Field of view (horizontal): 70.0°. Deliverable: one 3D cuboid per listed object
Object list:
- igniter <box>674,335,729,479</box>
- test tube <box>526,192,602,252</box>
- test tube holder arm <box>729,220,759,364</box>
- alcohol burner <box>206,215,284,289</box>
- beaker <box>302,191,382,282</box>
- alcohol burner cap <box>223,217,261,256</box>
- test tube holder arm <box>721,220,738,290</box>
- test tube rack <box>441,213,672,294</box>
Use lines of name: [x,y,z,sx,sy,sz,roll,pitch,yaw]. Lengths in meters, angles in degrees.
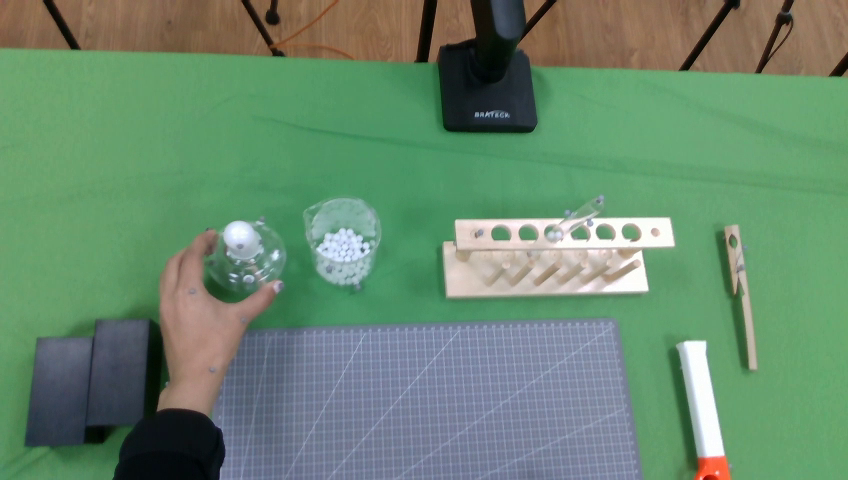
igniter: [0.313,0.243,0.666,0.057,0.025,0.275,3,72,-18]
test tube: [0.143,-0.016,0.638,0.017,0.150,0.017,5,70,-14]
test tube holder arm: [0.388,0.061,0.738,0.013,0.015,0.177,-11,71,25]
alcohol burner: [-0.181,0.006,0.609,0.078,0.119,0.077,4,69,-9]
beaker: [-0.089,0.000,0.644,0.084,0.100,0.073,26,70,1]
alcohol burner cap: [-0.174,-0.006,0.575,0.034,0.048,0.033,2,77,-8]
test tube holder arm: [0.381,0.019,0.753,0.010,0.015,0.087,-9,72,25]
test tube rack: [0.147,0.016,0.682,0.243,0.085,0.066,-1,72,-9]
